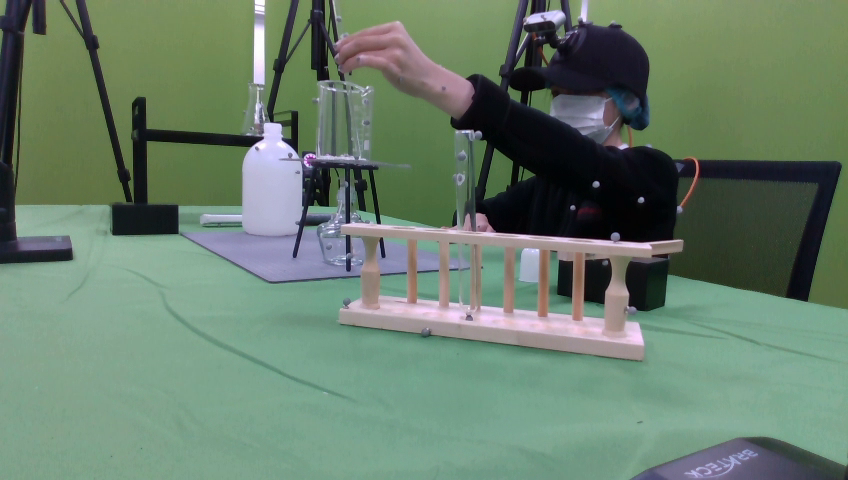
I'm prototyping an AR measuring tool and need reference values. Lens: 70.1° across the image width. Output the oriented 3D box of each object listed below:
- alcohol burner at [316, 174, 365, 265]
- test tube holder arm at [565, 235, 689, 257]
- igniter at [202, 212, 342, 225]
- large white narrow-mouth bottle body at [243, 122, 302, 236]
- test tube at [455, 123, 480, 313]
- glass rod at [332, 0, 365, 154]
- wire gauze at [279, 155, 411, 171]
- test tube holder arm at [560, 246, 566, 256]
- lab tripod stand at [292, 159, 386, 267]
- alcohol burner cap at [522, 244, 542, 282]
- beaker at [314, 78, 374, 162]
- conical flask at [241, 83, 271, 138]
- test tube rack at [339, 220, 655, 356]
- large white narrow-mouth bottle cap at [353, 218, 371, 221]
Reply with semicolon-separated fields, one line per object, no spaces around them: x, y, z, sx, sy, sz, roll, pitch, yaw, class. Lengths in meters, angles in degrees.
-0.102;-0.028;0.790;0.078;0.119;0.078;0;6;0;alcohol burner
0.216;0.006;0.629;0.179;0.015;0.013;-3;11;-30;test tube holder arm
-0.298;-0.043;1.216;0.278;0.025;0.057;-3;-2;-32;igniter
-0.264;-0.109;1.061;0.102;0.194;0.102;2;8;0;large white narrow-mouth bottle body
0.034;-0.016;0.476;0.017;0.150;0.017;-2;9;1;test tube
-0.094;-0.206;0.758;0.008;0.199;0.008;-8;16;3;glass rod
-0.103;-0.103;0.785;0.121;0.011;0.126;11;8;42;wire gauze
0.173;0.007;0.611;0.088;0.015;0.010;-3;11;-29;test tube holder arm
-0.105;-0.039;0.797;0.148;0.131;0.148;2;5;0;lab tripod stand
0.136;0.026;0.740;0.034;0.048;0.034;1;6;0;alcohol burner cap
-0.101;-0.150;0.773;0.074;0.100;0.083;-2;8;-40;beaker
-0.384;-0.297;1.393;0.075;0.122;0.075;2;7;0;conical flask
0.056;0.032;0.495;0.242;0.085;0.067;4;7;15;test tube rack
-0.120;-0.029;1.184;0.038;0.024;0.037;2;8;0;large white narrow-mouth bottle cap
